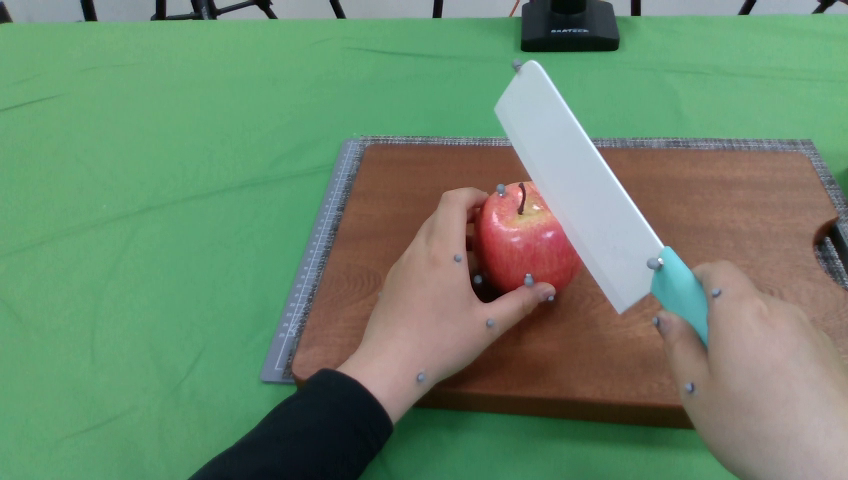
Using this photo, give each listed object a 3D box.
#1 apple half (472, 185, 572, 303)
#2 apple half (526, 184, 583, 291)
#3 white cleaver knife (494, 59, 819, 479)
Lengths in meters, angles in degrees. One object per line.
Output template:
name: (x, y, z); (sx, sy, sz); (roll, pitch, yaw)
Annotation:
apple half: (0.062, 0.008, 0.425); (0.053, 0.075, 0.080); (-21, 50, -9)
apple half: (0.098, -0.004, 0.432); (0.033, 0.082, 0.080); (-21, 46, -9)
white cleaver knife: (0.118, 0.012, 0.351); (0.021, 0.066, 0.284); (-15, 64, -26)
